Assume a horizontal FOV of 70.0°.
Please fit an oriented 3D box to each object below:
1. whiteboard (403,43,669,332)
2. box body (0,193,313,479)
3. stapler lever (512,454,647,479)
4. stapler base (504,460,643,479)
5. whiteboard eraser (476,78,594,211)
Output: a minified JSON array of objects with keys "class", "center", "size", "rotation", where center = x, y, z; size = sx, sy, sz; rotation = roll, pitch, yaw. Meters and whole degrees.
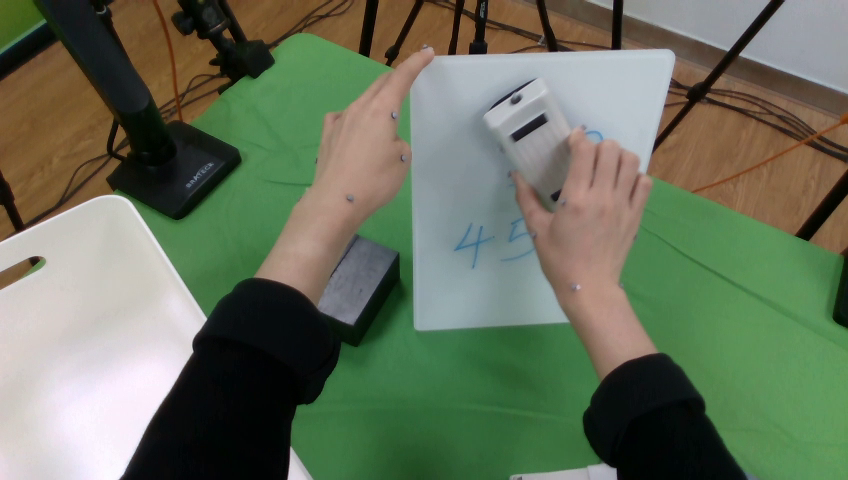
[{"class":"whiteboard","center":[0.087,-0.069,0.623],"size":[0.217,0.308,0.142],"rotation":[-2,38,-3]},{"class":"box body","center":[-0.270,0.173,0.496],"size":[0.254,0.161,0.361],"rotation":[-33,64,-21]},{"class":"stapler lever","center":[0.139,0.212,0.541],"size":[0.118,0.040,0.026],"rotation":[-4,53,-2]},{"class":"stapler base","center":[0.142,0.226,0.562],"size":[0.130,0.024,0.041],"rotation":[-5,53,-1]},{"class":"whiteboard eraser","center":[0.095,-0.079,0.508],"size":[0.055,0.114,0.041],"rotation":[-34,35,13]}]
